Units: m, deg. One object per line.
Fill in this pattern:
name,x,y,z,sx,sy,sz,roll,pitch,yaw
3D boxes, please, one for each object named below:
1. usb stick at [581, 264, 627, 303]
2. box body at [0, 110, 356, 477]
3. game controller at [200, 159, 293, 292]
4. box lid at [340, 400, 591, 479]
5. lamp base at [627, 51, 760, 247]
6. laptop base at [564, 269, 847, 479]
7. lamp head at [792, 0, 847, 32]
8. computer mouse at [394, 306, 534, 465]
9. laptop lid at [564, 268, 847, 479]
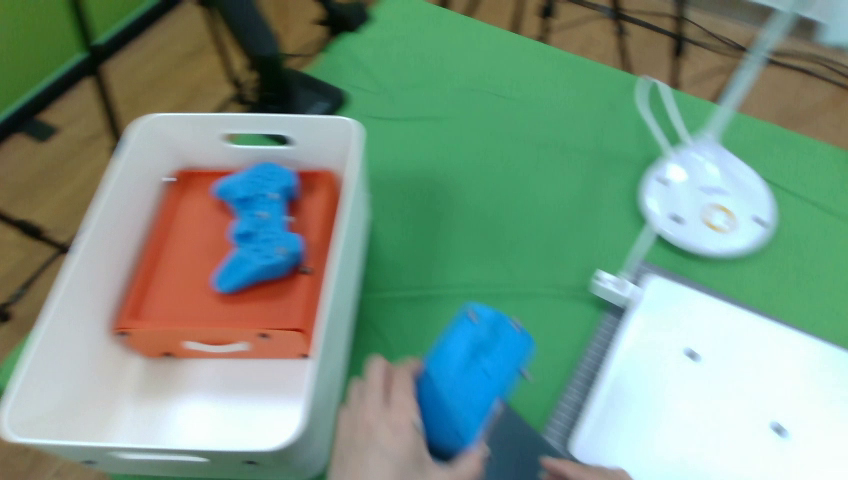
usb stick,0.210,0.052,0.686,0.059,0.027,0.021,28,58,15
box body,-0.215,0.052,0.636,0.254,0.162,0.360,1,58,3
game controller,-0.198,-0.024,0.664,0.097,0.052,0.153,-10,58,-8
box lid,0.075,0.319,0.545,0.368,0.015,0.263,39,68,23
lamp base,0.331,-0.111,0.704,0.161,0.182,0.177,-9,55,-3
laptop base,0.346,0.189,0.610,0.352,0.023,0.234,23,65,16
lamp head,0.334,-0.213,0.437,0.112,0.112,0.123,-2,101,2
computer mouse,0.030,0.104,0.451,0.062,0.041,0.117,28,70,24
laptop lid,0.344,0.184,0.599,0.355,0.013,0.240,24,64,17
